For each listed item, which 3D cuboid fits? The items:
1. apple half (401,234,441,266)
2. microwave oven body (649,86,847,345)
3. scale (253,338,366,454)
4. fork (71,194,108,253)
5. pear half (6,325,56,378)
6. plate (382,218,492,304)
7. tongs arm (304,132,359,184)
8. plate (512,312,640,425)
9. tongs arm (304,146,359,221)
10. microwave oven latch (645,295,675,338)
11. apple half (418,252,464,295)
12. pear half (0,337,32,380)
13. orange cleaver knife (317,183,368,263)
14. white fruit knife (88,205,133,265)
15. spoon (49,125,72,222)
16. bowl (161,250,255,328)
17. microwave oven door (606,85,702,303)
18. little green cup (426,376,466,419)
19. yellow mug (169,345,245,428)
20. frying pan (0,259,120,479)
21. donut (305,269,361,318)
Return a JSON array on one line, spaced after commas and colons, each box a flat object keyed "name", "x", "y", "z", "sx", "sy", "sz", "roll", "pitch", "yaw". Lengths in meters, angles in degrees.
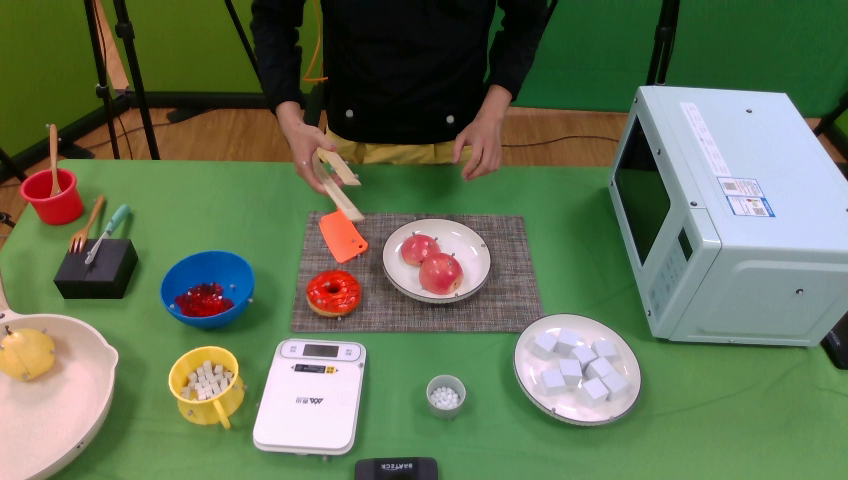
[{"name": "apple half", "x": -0.005, "y": 0.014, "z": 1.159, "sx": 0.081, "sy": 0.033, "sz": 0.081, "roll": 5, "pitch": 43, "yaw": -4}, {"name": "microwave oven body", "x": 0.567, "y": -0.053, "z": 1.118, "sx": 0.326, "sy": 0.261, "sz": 0.439, "roll": 2, "pitch": 45, "yaw": -1}, {"name": "scale", "x": -0.175, "y": 0.236, "z": 0.951, "sx": 0.149, "sy": 0.032, "sz": 0.199, "roll": 4, "pitch": 45, "yaw": -1}, {"name": "fork", "x": -0.634, "y": -0.036, "z": 1.158, "sx": 0.028, "sy": 0.019, "sz": 0.206, "roll": -8, "pitch": 32, "yaw": -8}, {"name": "pear half", "x": -0.608, "y": 0.158, "z": 0.935, "sx": 0.076, "sy": 0.110, "sz": 0.056, "roll": 31, "pitch": 51, "yaw": 20}, {"name": "plate", "x": 0.023, "y": 0.042, "z": 1.143, "sx": 0.209, "sy": 0.038, "sz": 0.208, "roll": 2, "pitch": 46, "yaw": -2}, {"name": "tongs arm", "x": -0.172, "y": -0.142, "z": 1.081, "sx": 0.026, "sy": 0.051, "sz": 0.382, "roll": -7, "pitch": 26, "yaw": -18}, {"name": "plate", "x": 0.246, "y": 0.213, "z": 0.999, "sx": 0.208, "sy": 0.039, "sz": 0.206, "roll": 2, "pitch": 46, "yaw": -2}, {"name": "tongs arm", "x": -0.174, "y": -0.109, "z": 1.094, "sx": 0.028, "sy": 0.028, "sz": 0.385, "roll": -10, "pitch": 26, "yaw": -16}, {"name": "microwave oven latch", "x": 0.412, "y": 0.134, "z": 1.061, "sx": 0.030, "sy": 0.029, "sz": 0.078, "roll": 3, "pitch": 45, "yaw": 0}, {"name": "apple half", "x": 0.033, "y": 0.055, "z": 1.109, "sx": 0.081, "sy": 0.053, "sz": 0.074, "roll": -31, "pitch": 58, "yaw": -28}, {"name": "pear half", "x": -0.631, "y": 0.184, "z": 0.921, "sx": 0.070, "sy": 0.088, "sz": 0.031, "roll": 29, "pitch": 49, "yaw": 19}, {"name": "orange cleaver knife", "x": -0.174, "y": -0.037, "z": 1.218, "sx": 0.077, "sy": 0.012, "sz": 0.210, "roll": -17, "pitch": 51, "yaw": -11}, {"name": "white fruit knife", "x": -0.584, "y": -0.013, "z": 1.129, "sx": 0.016, "sy": 0.027, "sz": 0.206, "roll": -1, "pitch": 32, "yaw": -5}, {"name": "spoon", "x": -0.718, "y": -0.131, "z": 1.189, "sx": 0.041, "sy": 0.021, "sz": 0.193, "roll": -4, "pitch": 90, "yaw": -6}, {"name": "bowl", "x": -0.362, "y": 0.098, "z": 1.040, "sx": 0.151, "sy": 0.077, "sz": 0.150, "roll": 2, "pitch": 45, "yaw": -2}, {"name": "microwave oven door", "x": 0.423, "y": -0.094, "z": 1.140, "sx": 0.039, "sy": 0.245, "sz": 0.353, "roll": 2, "pitch": 46, "yaw": -1}, {"name": "little green cup", "x": 0.033, "y": 0.248, "z": 0.950, "sx": 0.061, "sy": 0.039, "sz": 0.061, "roll": 2, "pitch": 46, "yaw": -2}, {"name": "yellow mug", "x": -0.322, "y": 0.230, "z": 0.922, "sx": 0.100, "sy": 0.064, "sz": 0.130, "roll": -24, "pitch": 53, "yaw": -25}, {"name": "frying pan", "x": -0.647, "y": 0.164, "z": 0.936, "sx": 0.307, "sy": 0.103, "sz": 0.485, "roll": -19, "pitch": 58, "yaw": -22}, {"name": "donut", "x": -0.160, "y": 0.094, "z": 1.075, "sx": 0.099, "sy": 0.048, "sz": 0.098, "roll": 3, "pitch": 45, "yaw": -3}]
